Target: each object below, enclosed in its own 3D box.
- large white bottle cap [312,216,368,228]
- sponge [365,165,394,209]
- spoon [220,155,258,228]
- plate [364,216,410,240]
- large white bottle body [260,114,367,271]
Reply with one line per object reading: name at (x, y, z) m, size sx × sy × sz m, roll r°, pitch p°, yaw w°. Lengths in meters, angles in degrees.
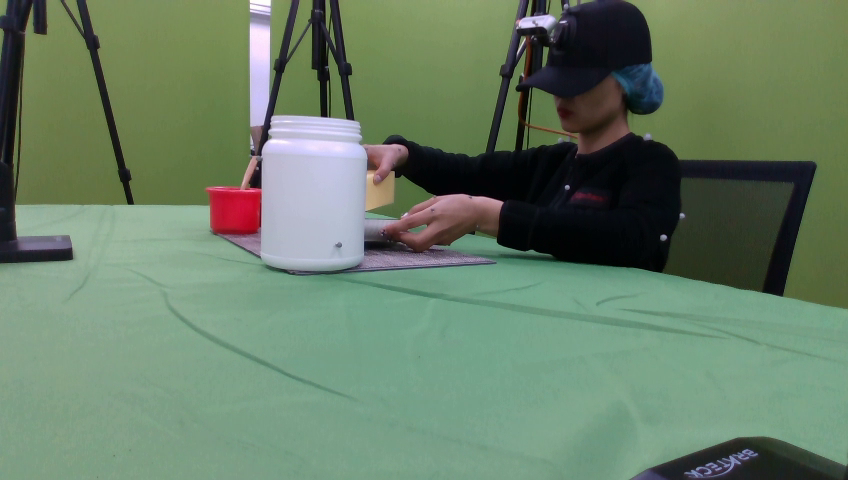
large white bottle cap at (-0.171, -0.038, 1.233) m, size 0.115 × 0.018 × 0.115 m, roll 2°, pitch 5°, yaw 0°
sponge at (-0.154, -0.087, 1.044) m, size 0.118 × 0.061 × 0.207 m, roll 11°, pitch 18°, yaw 26°
spoon at (-0.325, -0.090, 1.091) m, size 0.041 × 0.021 × 0.193 m, roll 3°, pitch 51°, yaw 3°
plate at (-0.126, -0.021, 0.979) m, size 0.209 × 0.038 × 0.209 m, roll 1°, pitch 2°, yaw 0°
large white bottle body at (-0.139, -0.061, 0.763) m, size 0.131 × 0.184 × 0.130 m, roll 3°, pitch 8°, yaw 0°
